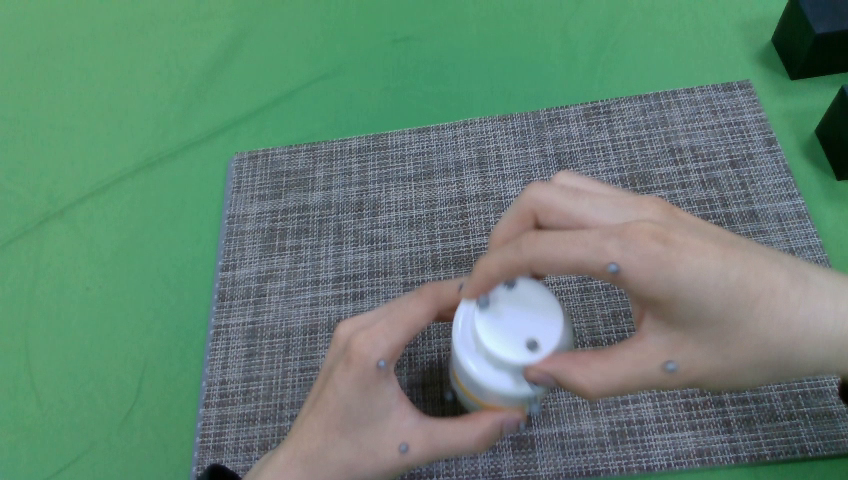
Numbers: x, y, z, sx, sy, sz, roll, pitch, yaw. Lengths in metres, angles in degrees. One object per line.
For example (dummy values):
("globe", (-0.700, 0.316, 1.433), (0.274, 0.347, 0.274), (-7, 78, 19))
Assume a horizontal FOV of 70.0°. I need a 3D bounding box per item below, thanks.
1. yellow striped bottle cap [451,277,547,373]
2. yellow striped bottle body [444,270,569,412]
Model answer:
("yellow striped bottle cap", (0.036, 0.040, 0.291), (0.044, 0.019, 0.044), (5, 64, -9))
("yellow striped bottle body", (0.044, 0.058, 0.342), (0.063, 0.121, 0.062), (0, 67, 0))
